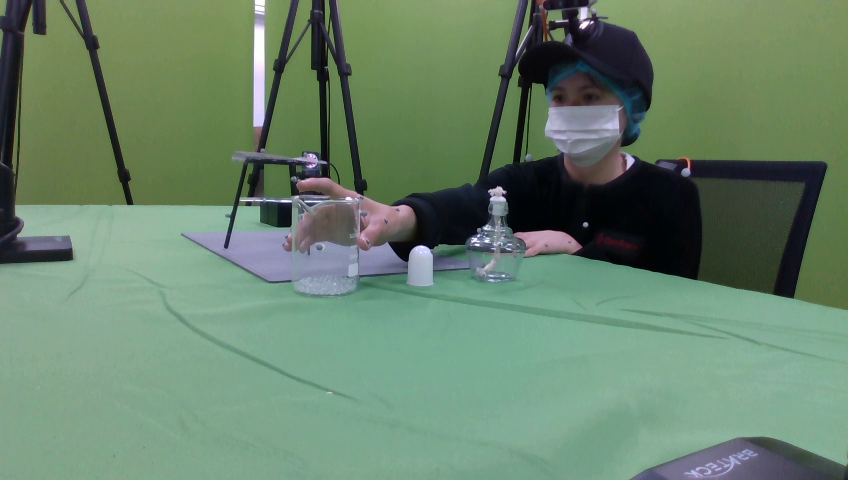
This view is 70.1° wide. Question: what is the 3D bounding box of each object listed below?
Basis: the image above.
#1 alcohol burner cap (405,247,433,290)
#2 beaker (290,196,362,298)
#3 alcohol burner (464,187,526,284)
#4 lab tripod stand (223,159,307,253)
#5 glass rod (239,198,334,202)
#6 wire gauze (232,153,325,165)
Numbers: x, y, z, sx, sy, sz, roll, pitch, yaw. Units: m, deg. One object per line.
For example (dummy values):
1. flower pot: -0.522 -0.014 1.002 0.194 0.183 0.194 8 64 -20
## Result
1. alcohol burner cap: -0.005 0.031 0.698 0.034 0.048 0.034 3 8 0
2. beaker: -0.104 0.006 0.627 0.074 0.100 0.084 4 8 11
3. alcohol burner: 0.089 -0.007 0.747 0.078 0.119 0.078 4 9 0
4. lab tripod stand: -0.220 -0.053 0.896 0.148 0.131 0.148 1 6 0
5. glass rod: -0.277 -0.081 1.232 0.201 0.008 0.008 -1 8 -30
6. wire gauze: -0.214 -0.118 0.881 0.125 0.011 0.121 0 7 -19
